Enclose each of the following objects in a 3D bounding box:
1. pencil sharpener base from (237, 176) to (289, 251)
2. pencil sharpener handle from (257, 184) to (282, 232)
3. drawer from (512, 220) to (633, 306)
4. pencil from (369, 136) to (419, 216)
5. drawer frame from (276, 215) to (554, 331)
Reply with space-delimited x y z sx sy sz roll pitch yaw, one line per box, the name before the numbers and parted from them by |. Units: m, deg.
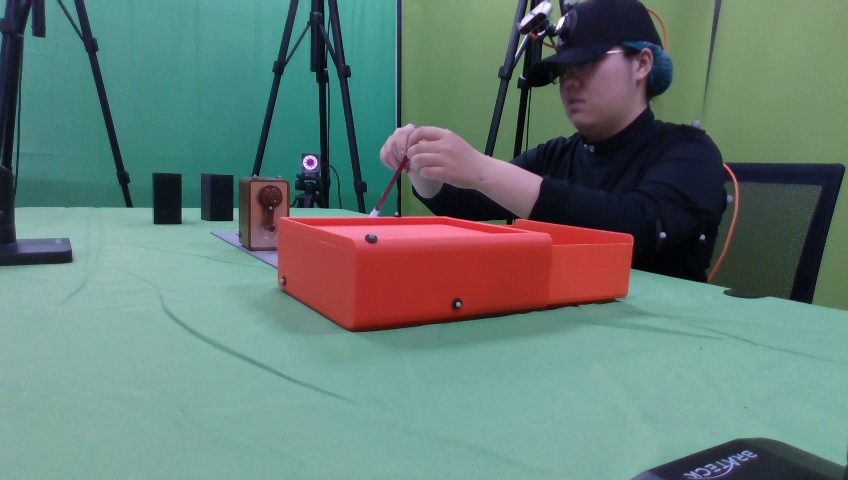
pencil sharpener base | -0.243 -0.041 0.911 0.061 0.107 0.076 -1 8 -29
pencil sharpener handle | -0.219 -0.046 0.865 0.036 0.067 0.030 6 5 -29
drawer | 0.085 0.022 0.674 0.213 0.073 0.193 -3 9 -32
pencil | -0.052 -0.098 1.000 0.012 0.193 0.012 22 37 -17
drawer frame | -0.015 0.022 0.610 0.215 0.082 0.200 -2 9 -32
